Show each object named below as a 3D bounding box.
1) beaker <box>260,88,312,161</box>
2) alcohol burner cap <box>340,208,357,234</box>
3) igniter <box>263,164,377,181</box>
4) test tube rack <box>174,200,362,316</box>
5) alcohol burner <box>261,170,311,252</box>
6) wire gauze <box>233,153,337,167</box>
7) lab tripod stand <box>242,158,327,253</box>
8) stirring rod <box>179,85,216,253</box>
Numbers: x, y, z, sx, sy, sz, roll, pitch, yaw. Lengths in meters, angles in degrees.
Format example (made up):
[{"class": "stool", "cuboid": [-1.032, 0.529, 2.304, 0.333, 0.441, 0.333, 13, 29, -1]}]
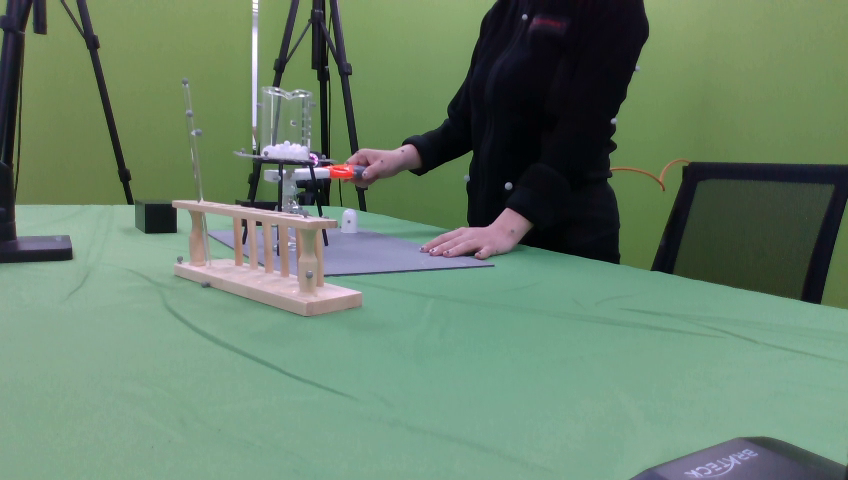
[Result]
[{"class": "beaker", "cuboid": [-0.200, -0.166, 0.876, 0.074, 0.100, 0.083, 1, 7, -18]}, {"class": "alcohol burner cap", "cuboid": [-0.142, -0.035, 1.136, 0.034, 0.048, 0.034, 2, 7, 0]}, {"class": "igniter", "cuboid": [-0.172, -0.119, 1.063, 0.057, 0.025, 0.278, 11, 13, 28]}, {"class": "test tube rack", "cuboid": [-0.169, 0.009, 0.622, 0.241, 0.085, 0.067, 9, 9, 41]}, {"class": "alcohol burner", "cuboid": [-0.201, -0.043, 0.891, 0.078, 0.119, 0.078, 1, 6, 0]}, {"class": "wire gauze", "cuboid": [-0.205, -0.119, 0.887, 0.122, 0.011, 0.124, 2, 4, -32]}, {"class": "lab tripod stand", "cuboid": [-0.207, -0.054, 0.895, 0.148, 0.131, 0.148, 2, 5, 0]}, {"class": "stirring rod", "cuboid": [-0.237, -0.073, 0.634, 0.006, 0.176, 0.014, 1, 10, 42]}]
